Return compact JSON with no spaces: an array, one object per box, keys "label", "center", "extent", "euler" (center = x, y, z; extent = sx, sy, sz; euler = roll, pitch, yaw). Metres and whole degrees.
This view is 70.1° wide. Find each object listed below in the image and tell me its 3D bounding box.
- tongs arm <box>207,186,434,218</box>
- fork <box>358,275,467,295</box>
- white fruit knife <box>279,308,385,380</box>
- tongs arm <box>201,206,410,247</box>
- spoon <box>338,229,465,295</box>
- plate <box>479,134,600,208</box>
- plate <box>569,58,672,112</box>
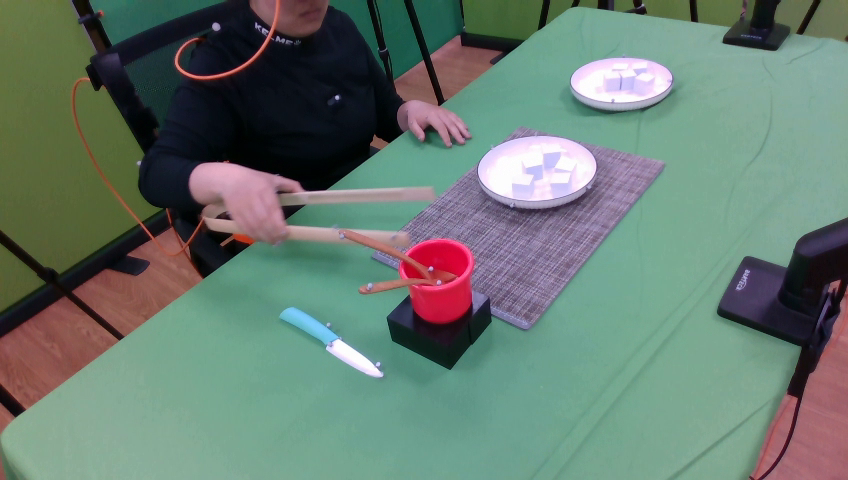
[{"label":"tongs arm","center":[-0.171,-0.062,0.964],"extent":[0.386,0.028,0.028],"euler":[-2,44,16]},{"label":"fork","center":[-0.009,0.056,0.739],"extent":[0.028,0.018,0.209],"euler":[48,23,26]},{"label":"white fruit knife","center":[-0.130,0.143,0.845],"extent":[0.205,0.016,0.027],"euler":[25,78,32]},{"label":"tongs arm","center":[-0.190,-0.022,0.919],"extent":[0.383,0.027,0.050],"euler":[3,43,22]},{"label":"spoon","center":[-0.025,0.026,0.776],"extent":[0.021,0.195,0.041],"euler":[-41,34,32]},{"label":"plate","center":[0.202,-0.117,1.065],"extent":[0.207,0.039,0.206],"euler":[-5,40,5]},{"label":"plate","center":[0.411,-0.323,1.274],"extent":[0.209,0.038,0.208],"euler":[-5,41,5]}]
